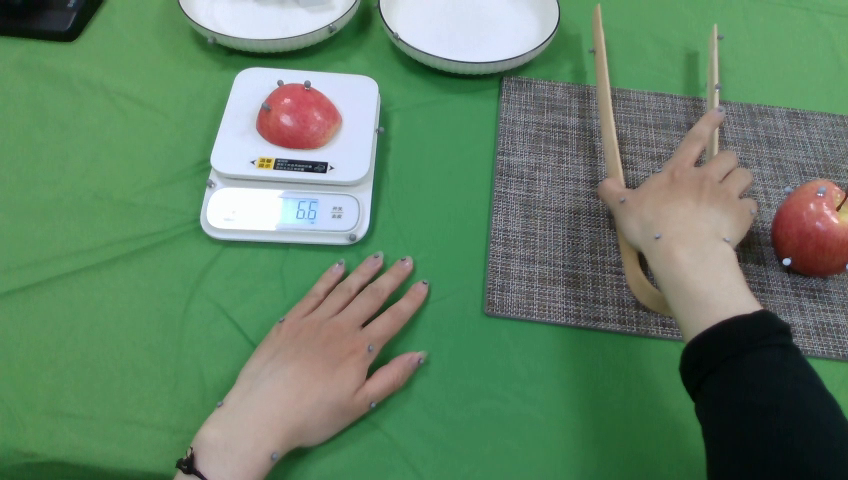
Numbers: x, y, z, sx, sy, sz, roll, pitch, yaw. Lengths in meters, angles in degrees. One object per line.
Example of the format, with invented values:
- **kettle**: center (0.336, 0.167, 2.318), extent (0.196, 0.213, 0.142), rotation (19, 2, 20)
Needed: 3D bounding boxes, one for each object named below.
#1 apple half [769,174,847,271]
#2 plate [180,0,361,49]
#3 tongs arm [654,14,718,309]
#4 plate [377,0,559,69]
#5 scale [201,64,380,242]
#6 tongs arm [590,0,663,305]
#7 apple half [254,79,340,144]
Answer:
- **apple half**: center (0.333, -0.008, 0.521), extent (0.053, 0.075, 0.080), rotation (-27, 65, -15)
- **plate**: center (-0.174, -0.288, 0.706), extent (0.208, 0.039, 0.205), rotation (2, 56, -2)
- **tongs arm**: center (0.262, -0.100, 0.597), extent (0.051, 0.027, 0.382), rotation (15, 58, 3)
- **plate**: center (0.050, -0.265, 0.703), extent (0.209, 0.038, 0.207), rotation (2, 56, -2)
- **scale**: center (-0.122, -0.089, 0.578), extent (0.149, 0.032, 0.199), rotation (3, 56, -1)
- **tongs arm**: center (0.189, -0.114, 0.600), extent (0.028, 0.028, 0.384), rotation (7, 57, -6)
- **apple half**: center (-0.118, -0.127, 0.568), extent (0.081, 0.033, 0.080), rotation (1, 55, -1)
